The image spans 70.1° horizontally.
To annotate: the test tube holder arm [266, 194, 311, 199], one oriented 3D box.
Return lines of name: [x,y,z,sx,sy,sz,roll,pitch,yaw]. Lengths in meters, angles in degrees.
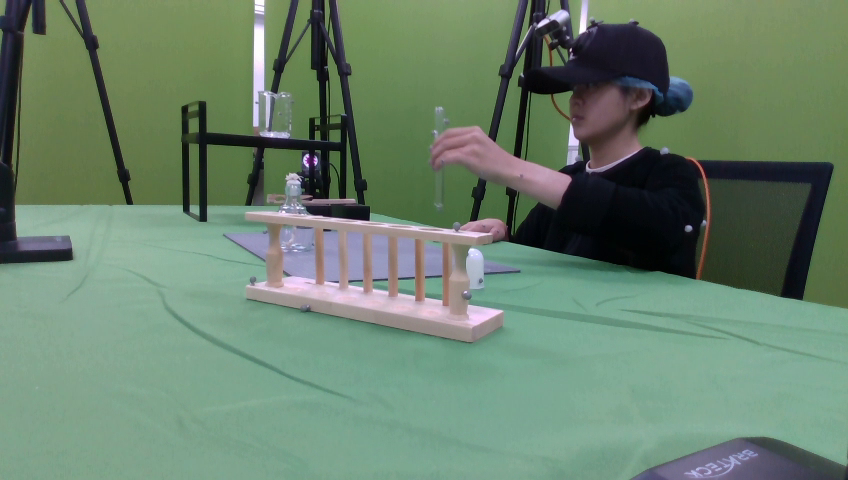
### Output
test tube holder arm: [-0.262,-0.084,1.173,0.088,0.010,0.015,-3,2,-30]

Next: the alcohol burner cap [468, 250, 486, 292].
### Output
alcohol burner cap: [0.056,0.035,0.690,0.034,0.048,0.034,2,7,0]

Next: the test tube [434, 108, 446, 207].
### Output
test tube: [0.024,-0.124,0.916,0.017,0.150,0.017,1,8,0]

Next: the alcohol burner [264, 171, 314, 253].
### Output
alcohol burner: [-0.194,-0.042,0.888,0.078,0.119,0.078,3,5,0]

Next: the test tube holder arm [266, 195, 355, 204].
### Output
test tube holder arm: [-0.222,-0.081,1.196,0.179,0.013,0.015,-4,3,-30]

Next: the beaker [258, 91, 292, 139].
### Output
beaker: [-0.331,-0.276,1.343,0.074,0.100,0.083,0,8,-20]

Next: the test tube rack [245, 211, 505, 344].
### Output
test tube rack: [-0.049,0.025,0.547,0.241,0.085,0.067,7,8,29]
